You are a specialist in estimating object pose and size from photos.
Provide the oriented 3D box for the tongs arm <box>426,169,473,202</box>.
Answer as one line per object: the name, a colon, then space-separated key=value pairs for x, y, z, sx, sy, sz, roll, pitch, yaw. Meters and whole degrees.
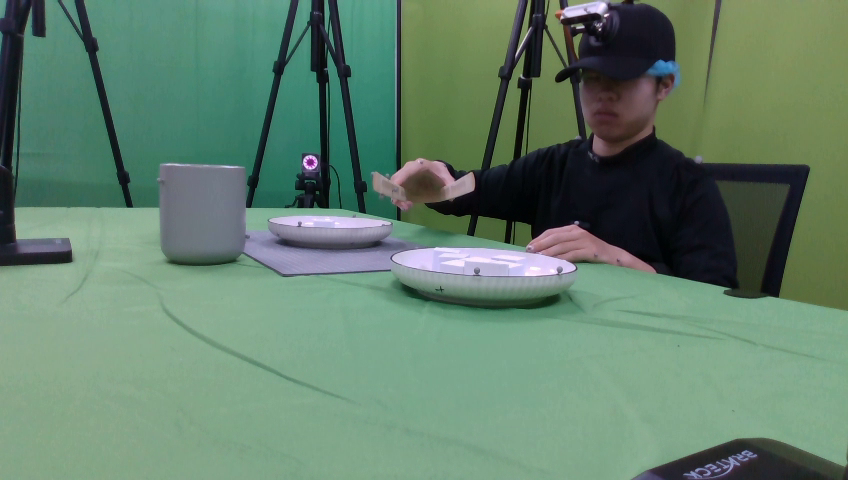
tongs arm: x=0.037 y=-0.081 z=0.955 sx=0.028 sy=0.028 sz=0.387 roll=-7 pitch=2 yaw=-6

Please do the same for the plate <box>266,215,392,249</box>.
plate: x=-0.159 y=-0.015 z=1.019 sx=0.209 sy=0.038 sz=0.209 roll=3 pitch=7 yaw=0

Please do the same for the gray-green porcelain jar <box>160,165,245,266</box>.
gray-green porcelain jar: x=-0.291 y=-0.034 z=0.799 sx=0.106 sy=0.126 sz=0.106 roll=2 pitch=8 yaw=0

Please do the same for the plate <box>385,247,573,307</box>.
plate: x=0.060 y=0.041 z=0.678 sx=0.208 sy=0.039 sz=0.207 roll=3 pitch=7 yaw=0

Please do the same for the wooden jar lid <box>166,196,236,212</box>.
wooden jar lid: x=-0.369 y=-0.060 z=1.001 sx=0.108 sy=0.020 sz=0.108 roll=3 pitch=6 yaw=0

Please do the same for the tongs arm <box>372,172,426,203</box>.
tongs arm: x=-0.031 y=-0.079 z=0.955 sx=0.051 sy=0.026 sz=0.385 roll=-3 pitch=1 yaw=3
